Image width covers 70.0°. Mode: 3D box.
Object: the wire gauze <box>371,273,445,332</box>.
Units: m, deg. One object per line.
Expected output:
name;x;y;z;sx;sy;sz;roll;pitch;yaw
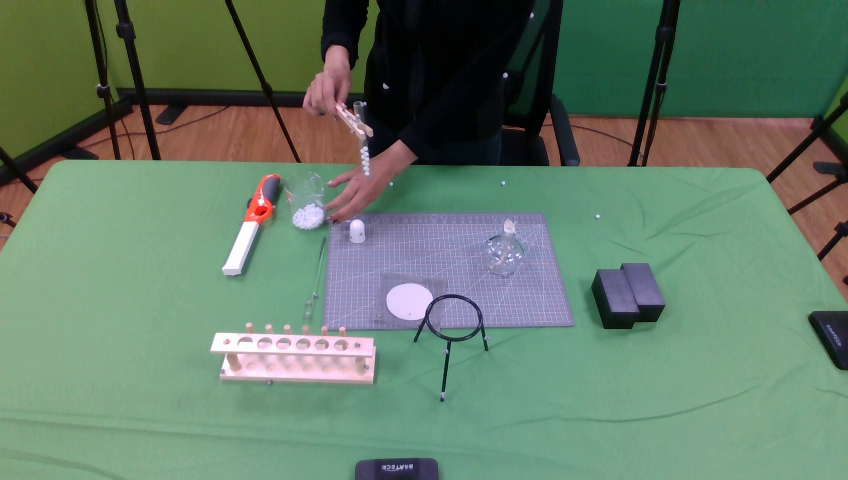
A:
wire gauze;-0.028;0.108;1.100;0.125;0.011;0.121;7;45;4

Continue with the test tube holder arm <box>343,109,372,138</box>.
test tube holder arm;-0.122;-0.208;1.077;0.010;0.015;0.087;-29;50;-28

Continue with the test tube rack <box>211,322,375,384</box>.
test tube rack;-0.202;0.176;0.969;0.242;0.085;0.066;3;46;-2

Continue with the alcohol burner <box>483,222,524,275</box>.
alcohol burner;0.152;0.009;1.136;0.078;0.119;0.077;4;46;-4

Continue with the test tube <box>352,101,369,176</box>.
test tube;-0.112;-0.177;1.076;0.017;0.151;0.017;-2;42;2

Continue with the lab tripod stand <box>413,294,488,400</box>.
lab tripod stand;0.044;0.159;0.972;0.148;0.132;0.147;2;44;-2

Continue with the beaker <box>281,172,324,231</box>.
beaker;-0.234;-0.073;1.198;0.084;0.101;0.074;24;50;17

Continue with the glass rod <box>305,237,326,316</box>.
glass rod;-0.202;0.063;1.131;0.008;0.008;0.198;3;44;0

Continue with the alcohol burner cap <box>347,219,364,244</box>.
alcohol burner cap;-0.135;-0.019;1.190;0.034;0.048;0.033;2;45;-2

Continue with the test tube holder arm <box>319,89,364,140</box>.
test tube holder arm;-0.152;-0.231;1.102;0.013;0.015;0.177;-22;47;-23

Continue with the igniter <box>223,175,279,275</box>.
igniter;-0.341;-0.039;1.207;0.057;0.025;0.275;-1;45;9
